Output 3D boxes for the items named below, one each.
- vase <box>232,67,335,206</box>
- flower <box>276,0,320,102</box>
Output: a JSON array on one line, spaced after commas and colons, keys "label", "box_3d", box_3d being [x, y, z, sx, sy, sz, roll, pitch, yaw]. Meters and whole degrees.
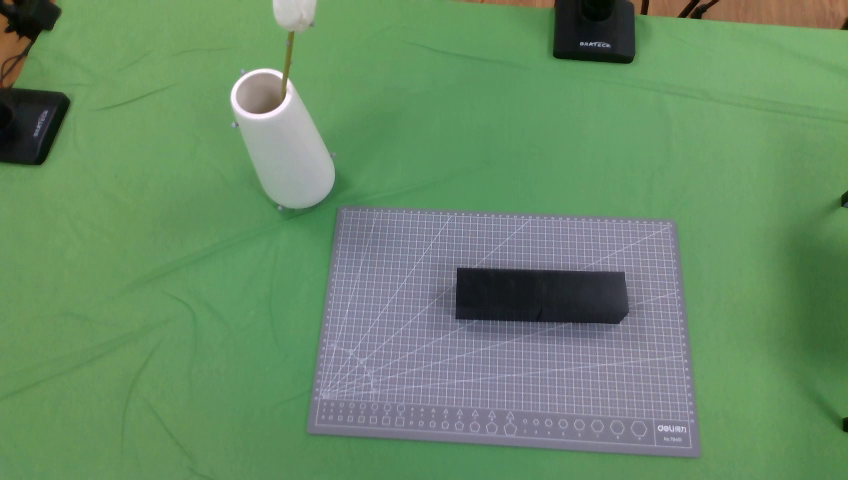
[{"label": "vase", "box_3d": [-0.171, -0.123, 0.751, 0.098, 0.201, 0.097, 0, 65, 1]}, {"label": "flower", "box_3d": [-0.157, -0.159, 0.676, 0.038, 0.363, 0.044, 23, 61, -7]}]
